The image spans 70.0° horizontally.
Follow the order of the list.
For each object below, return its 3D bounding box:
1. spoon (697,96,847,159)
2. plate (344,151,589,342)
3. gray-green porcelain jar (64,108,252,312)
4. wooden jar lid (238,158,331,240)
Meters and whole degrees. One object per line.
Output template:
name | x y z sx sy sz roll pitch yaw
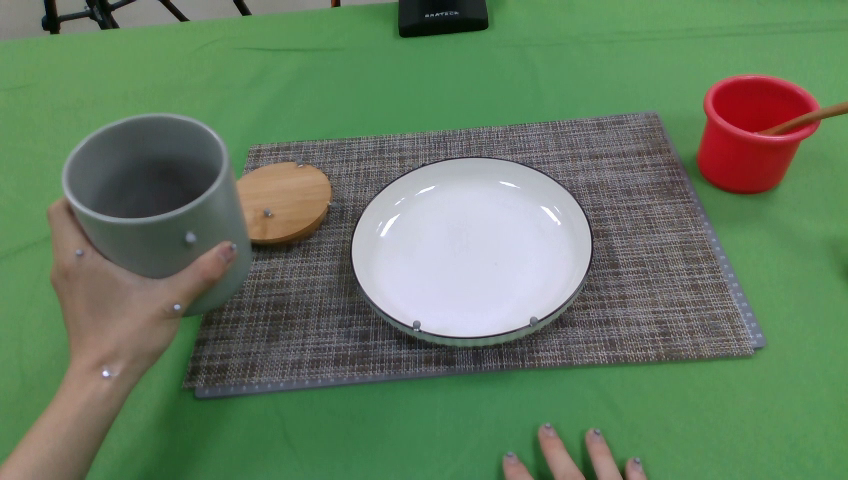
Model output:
spoon | 0.329 -0.104 0.525 0.041 0.022 0.193 -49 16 -30
plate | 0.036 0.005 0.531 0.207 0.039 0.205 -3 49 4
gray-green porcelain jar | -0.187 -0.015 0.451 0.106 0.127 0.105 4 52 -4
wooden jar lid | -0.145 -0.040 0.601 0.108 0.021 0.107 -2 48 3
